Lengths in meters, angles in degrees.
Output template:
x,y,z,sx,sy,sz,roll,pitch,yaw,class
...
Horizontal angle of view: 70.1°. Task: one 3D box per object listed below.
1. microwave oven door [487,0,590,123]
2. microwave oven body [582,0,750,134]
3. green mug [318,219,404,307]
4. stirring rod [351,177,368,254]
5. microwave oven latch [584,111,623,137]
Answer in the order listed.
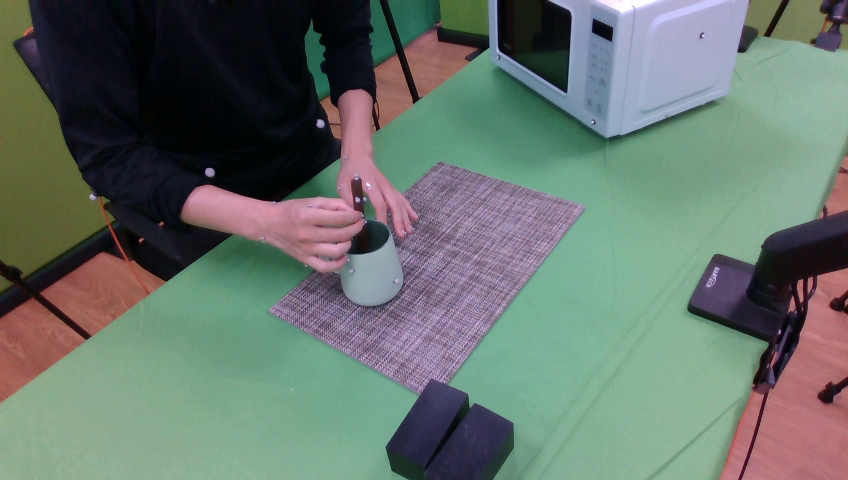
x,y,z,sx,sy,sz,roll,pitch,yaw,class
0.232,-0.420,1.230,0.039,0.245,0.352,-22,43,-16,microwave oven door
0.382,-0.445,1.246,0.327,0.261,0.437,-22,42,-16,microwave oven body
-0.095,0.032,0.876,0.125,0.105,0.092,8,43,17,green mug
-0.086,-0.020,0.820,0.014,0.177,0.005,-21,53,-18,stirring rod
0.337,-0.222,1.142,0.030,0.029,0.078,-21,42,-14,microwave oven latch
